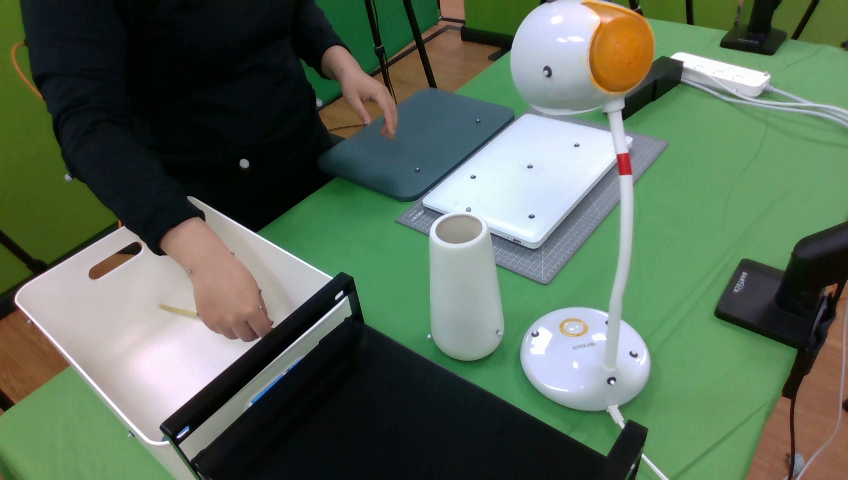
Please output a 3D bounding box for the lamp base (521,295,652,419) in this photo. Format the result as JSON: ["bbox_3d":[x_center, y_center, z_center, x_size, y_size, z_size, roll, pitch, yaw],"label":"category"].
[{"bbox_3d":[0.201,0.095,0.710,0.161,0.181,0.177,-16,43,-10],"label":"lamp base"}]

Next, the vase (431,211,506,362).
[{"bbox_3d":[0.054,0.062,0.757,0.098,0.201,0.097,-3,40,3],"label":"vase"}]

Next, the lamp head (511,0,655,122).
[{"bbox_3d":[0.155,-0.168,0.564,0.113,0.113,0.122,-18,23,-12],"label":"lamp head"}]

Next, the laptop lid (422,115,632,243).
[{"bbox_3d":[0.190,-0.126,1.081,0.239,0.013,0.358,23,48,34],"label":"laptop lid"}]

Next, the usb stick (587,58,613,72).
[{"bbox_3d":[0.401,-0.399,1.381,0.059,0.027,0.021,0,49,21],"label":"usb stick"}]

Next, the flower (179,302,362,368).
[{"bbox_3d":[-0.232,0.118,0.834,0.359,0.044,0.038,8,-2,34],"label":"flower"}]

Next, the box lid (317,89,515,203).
[{"bbox_3d":[-0.009,-0.207,1.236,0.261,0.015,0.372,23,49,32],"label":"box lid"}]

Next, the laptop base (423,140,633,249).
[{"bbox_3d":[0.194,-0.117,1.087,0.233,0.023,0.355,20,47,34],"label":"laptop base"}]

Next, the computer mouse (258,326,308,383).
[{"bbox_3d":[-0.160,0.157,0.792,0.116,0.041,0.063,27,48,23],"label":"computer mouse"}]

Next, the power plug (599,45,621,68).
[{"bbox_3d":[0.437,-0.422,1.412,0.053,0.035,0.072,-18,74,-47],"label":"power plug"}]

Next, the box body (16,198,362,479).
[{"bbox_3d":[-0.285,0.123,0.766,0.361,0.161,0.255,25,49,33],"label":"box body"}]

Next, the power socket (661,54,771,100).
[{"bbox_3d":[0.615,-0.348,1.285,0.072,0.033,0.225,-36,48,-28],"label":"power socket"}]

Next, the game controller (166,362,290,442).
[{"bbox_3d":[-0.233,0.210,0.736,0.096,0.052,0.155,27,52,32],"label":"game controller"}]
